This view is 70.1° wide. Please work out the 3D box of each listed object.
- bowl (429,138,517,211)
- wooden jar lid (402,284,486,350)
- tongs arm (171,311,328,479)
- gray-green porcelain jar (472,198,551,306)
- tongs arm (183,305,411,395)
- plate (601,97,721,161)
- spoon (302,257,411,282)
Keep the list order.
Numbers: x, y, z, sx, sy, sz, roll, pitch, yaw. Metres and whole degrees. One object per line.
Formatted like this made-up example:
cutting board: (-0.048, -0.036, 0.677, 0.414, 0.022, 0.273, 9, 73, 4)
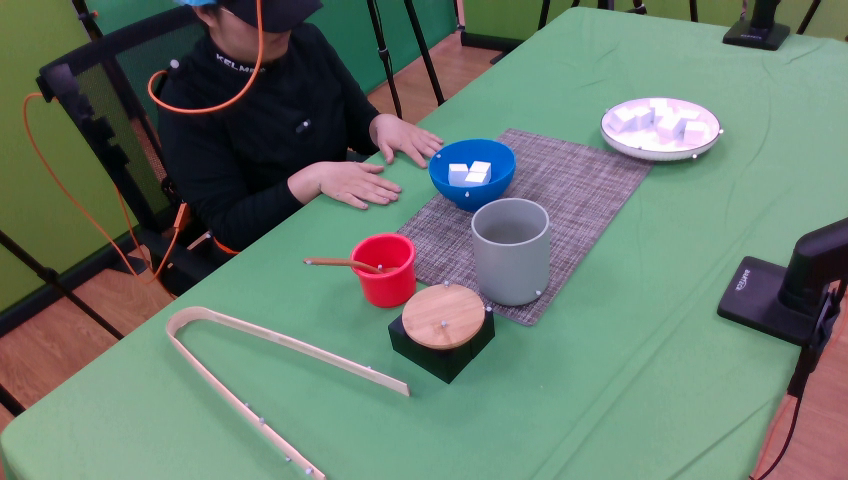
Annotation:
bowl: (0.087, -0.104, 1.043, 0.151, 0.077, 0.150, -6, 40, 5)
wooden jar lid: (0.026, 0.101, 0.786, 0.108, 0.021, 0.108, -5, 39, 4)
tongs arm: (-0.236, 0.192, 0.795, 0.381, 0.026, 0.051, 24, 50, 35)
gray-green porcelain jar: (0.125, 0.021, 0.850, 0.106, 0.127, 0.105, -6, 40, 5)
tongs arm: (-0.187, 0.149, 0.842, 0.385, 0.028, 0.028, 14, 48, 26)
plate: (0.436, -0.202, 1.126, 0.209, 0.038, 0.208, -5, 39, 5)
spoon: (-0.092, 0.038, 0.865, 0.195, 0.021, 0.041, 16, 15, -46)
